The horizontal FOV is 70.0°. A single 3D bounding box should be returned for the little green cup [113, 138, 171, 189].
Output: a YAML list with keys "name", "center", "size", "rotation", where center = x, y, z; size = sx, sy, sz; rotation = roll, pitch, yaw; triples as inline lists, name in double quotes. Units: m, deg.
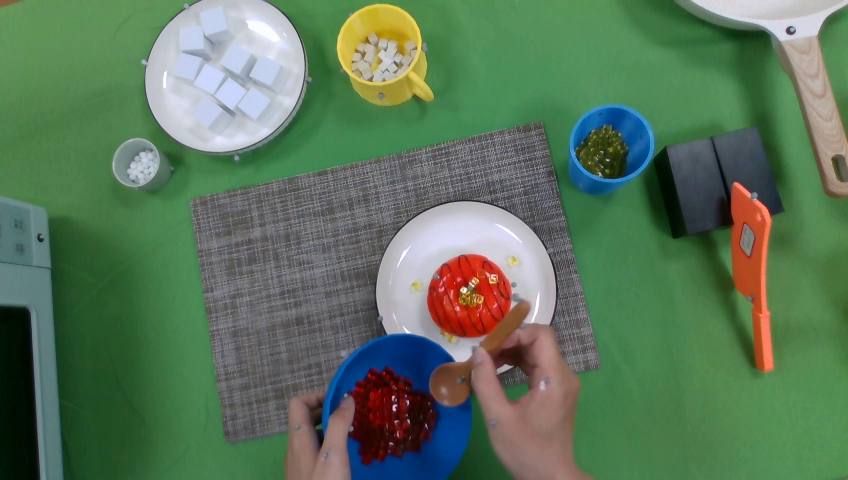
- name: "little green cup"
  center: [-0.350, -0.093, 0.757]
  size: [0.061, 0.039, 0.061]
  rotation: [0, 83, 4]

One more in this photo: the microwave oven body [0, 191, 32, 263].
- name: "microwave oven body"
  center: [-0.617, 0.172, 0.636]
  size: [0.326, 0.261, 0.440]
  rotation: [-9, 83, 4]

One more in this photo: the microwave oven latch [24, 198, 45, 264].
- name: "microwave oven latch"
  center: [-0.486, -0.011, 0.743]
  size: [0.030, 0.029, 0.079]
  rotation: [-6, 83, 4]

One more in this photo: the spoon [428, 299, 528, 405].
- name: "spoon"
  center: [0.043, 0.100, 0.516]
  size: [0.021, 0.194, 0.041]
  rotation: [-35, 75, -32]

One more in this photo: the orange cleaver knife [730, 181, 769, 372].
- name: "orange cleaver knife"
  center: [0.350, 0.042, 0.654]
  size: [0.012, 0.076, 0.212]
  rotation: [-12, 111, 4]

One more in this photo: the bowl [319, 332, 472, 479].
- name: "bowl"
  center: [-0.038, 0.167, 0.596]
  size: [0.152, 0.076, 0.151]
  rotation: [5, 79, -27]

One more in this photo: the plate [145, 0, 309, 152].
- name: "plate"
  center: [-0.244, -0.209, 0.764]
  size: [0.207, 0.039, 0.207]
  rotation: [-1, 83, 6]

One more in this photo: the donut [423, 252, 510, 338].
- name: "donut"
  center: [0.048, 0.063, 0.687]
  size: [0.099, 0.048, 0.099]
  rotation: [0, 86, 6]

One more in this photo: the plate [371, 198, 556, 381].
- name: "plate"
  center: [0.045, 0.057, 0.699]
  size: [0.209, 0.038, 0.208]
  rotation: [-1, 84, 6]

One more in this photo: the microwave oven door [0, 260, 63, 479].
- name: "microwave oven door"
  center: [-0.467, 0.192, 0.614]
  size: [0.039, 0.244, 0.354]
  rotation: [-9, 82, 5]

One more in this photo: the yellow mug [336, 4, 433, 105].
- name: "yellow mug"
  center: [-0.039, -0.213, 0.730]
  size: [0.130, 0.064, 0.100]
  rotation: [41, 88, 8]

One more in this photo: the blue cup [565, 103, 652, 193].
- name: "blue cup"
  center: [0.196, -0.093, 0.675]
  size: [0.092, 0.100, 0.092]
  rotation: [-1, 81, 5]

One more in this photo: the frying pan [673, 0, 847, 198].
- name: "frying pan"
  center: [0.397, -0.277, 0.677]
  size: [0.306, 0.103, 0.485]
  rotation: [-7, 74, 6]
